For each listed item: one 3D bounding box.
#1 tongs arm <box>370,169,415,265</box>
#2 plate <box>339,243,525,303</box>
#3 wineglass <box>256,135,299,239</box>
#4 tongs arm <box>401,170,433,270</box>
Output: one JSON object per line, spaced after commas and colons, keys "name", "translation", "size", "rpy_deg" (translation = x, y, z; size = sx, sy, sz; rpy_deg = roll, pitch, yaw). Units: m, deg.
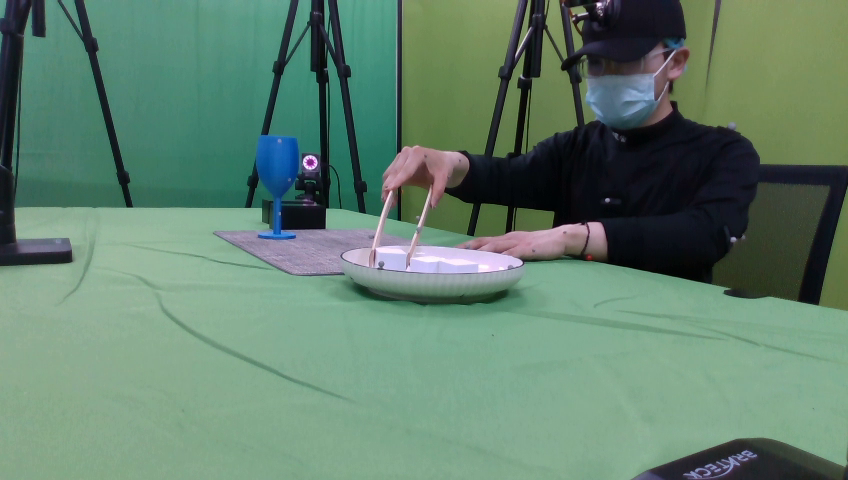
{"name": "tongs arm", "translation": [-0.043, -0.047, 0.853], "size": [0.028, 0.028, 0.387], "rpy_deg": [7, 20, 1]}
{"name": "plate", "translation": [0.008, 0.035, 0.682], "size": [0.209, 0.038, 0.209], "rpy_deg": [3, 7, 0]}
{"name": "wineglass", "translation": [-0.252, -0.091, 1.035], "size": [0.074, 0.172, 0.073], "rpy_deg": [3, 7, 0]}
{"name": "tongs arm", "translation": [-0.018, -0.043, 0.854], "size": [0.051, 0.026, 0.385], "rpy_deg": [11, 20, 4]}
